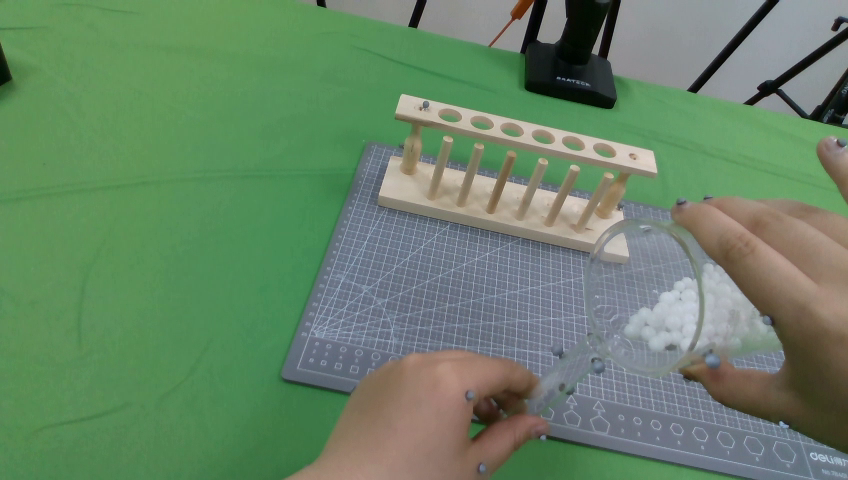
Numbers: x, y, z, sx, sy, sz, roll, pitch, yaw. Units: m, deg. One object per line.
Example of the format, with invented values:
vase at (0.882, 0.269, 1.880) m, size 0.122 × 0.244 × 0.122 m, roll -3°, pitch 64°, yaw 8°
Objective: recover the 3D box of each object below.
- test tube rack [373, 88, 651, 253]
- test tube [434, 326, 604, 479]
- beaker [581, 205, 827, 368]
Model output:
test tube rack at (0.081, -0.064, 0.572) m, size 0.242 × 0.086 × 0.066 m, roll 13°, pitch 45°, yaw -2°
test tube at (0.050, 0.100, 0.352) m, size 0.017 × 0.150 × 0.017 m, roll 26°, pitch 33°, yaw -18°
beaker at (0.141, 0.023, 0.307) m, size 0.101 × 0.084 × 0.073 m, roll -2°, pitch 50°, yaw -26°
